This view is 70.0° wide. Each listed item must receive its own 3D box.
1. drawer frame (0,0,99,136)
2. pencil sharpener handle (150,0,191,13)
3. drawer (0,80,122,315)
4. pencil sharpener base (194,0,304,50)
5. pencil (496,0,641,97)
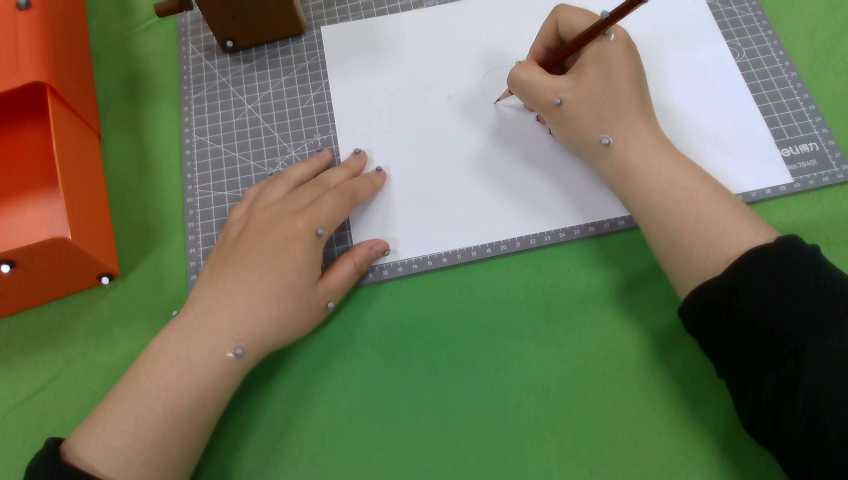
[{"bbox_3d":[-0.366,-0.147,0.452,0.202,0.083,0.211,-19,67,-3],"label":"drawer frame"},{"bbox_3d":[-0.190,-0.190,0.428,0.030,0.068,0.035,-17,64,-2],"label":"pencil sharpener handle"},{"bbox_3d":[-0.328,-0.045,0.409,0.194,0.074,0.210,-20,67,-4],"label":"drawer"},{"bbox_3d":[-0.141,-0.201,0.441,0.077,0.108,0.061,-17,67,-2],"label":"pencil sharpener base"},{"bbox_3d":[0.102,-0.128,0.363,0.012,0.193,0.012,10,71,-30],"label":"pencil"}]
